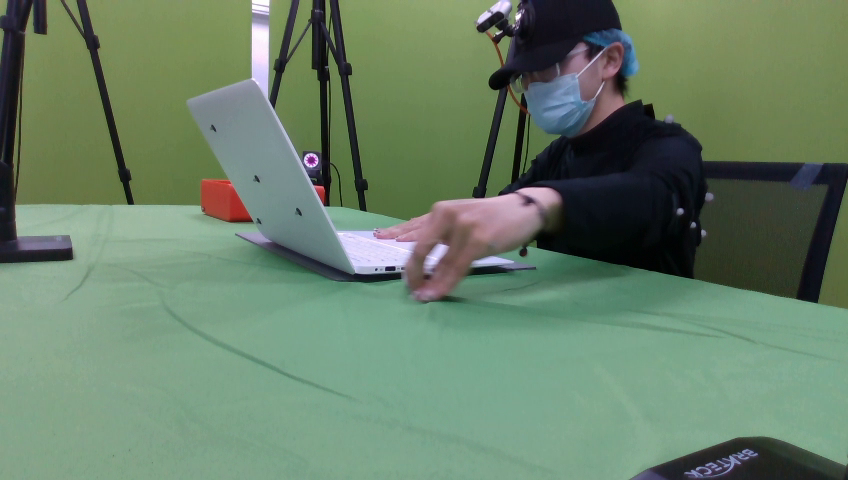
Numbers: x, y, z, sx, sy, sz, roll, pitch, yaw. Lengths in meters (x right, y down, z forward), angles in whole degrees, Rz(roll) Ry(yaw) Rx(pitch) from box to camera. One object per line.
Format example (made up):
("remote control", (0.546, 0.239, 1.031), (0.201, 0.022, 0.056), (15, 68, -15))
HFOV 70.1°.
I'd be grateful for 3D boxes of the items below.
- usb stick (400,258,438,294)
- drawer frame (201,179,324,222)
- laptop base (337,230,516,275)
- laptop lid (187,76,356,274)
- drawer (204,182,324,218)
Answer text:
("usb stick", (-0.008, 0.036, 0.645), (0.021, 0.027, 0.059), (-6, 15, -27))
("drawer frame", (-0.362, -0.092, 1.356), (0.215, 0.082, 0.200), (-4, 10, -37))
("laptop base", (-0.065, 0.014, 0.877), (0.237, 0.023, 0.352), (2, 6, -32))
("laptop lid", (-0.210, -0.082, 0.772), (0.013, 0.242, 0.355), (-34, 25, -23))
("drawer", (-0.360, -0.092, 1.358), (0.213, 0.073, 0.193), (-3, 10, -36))
